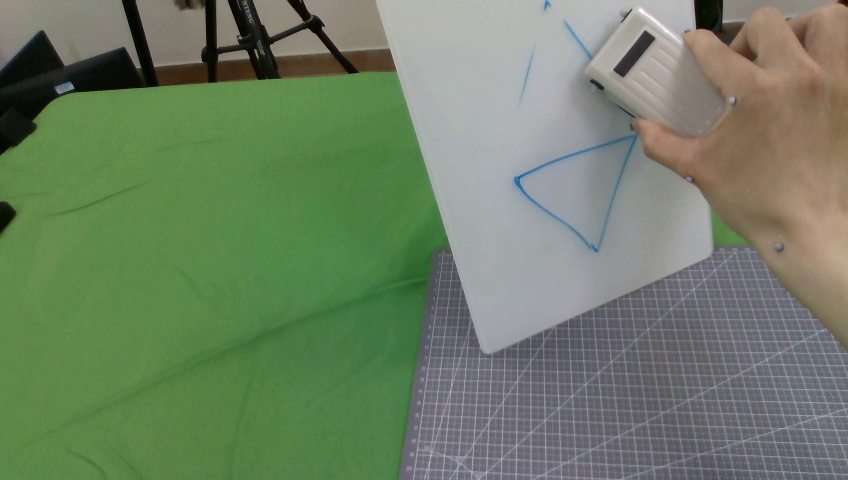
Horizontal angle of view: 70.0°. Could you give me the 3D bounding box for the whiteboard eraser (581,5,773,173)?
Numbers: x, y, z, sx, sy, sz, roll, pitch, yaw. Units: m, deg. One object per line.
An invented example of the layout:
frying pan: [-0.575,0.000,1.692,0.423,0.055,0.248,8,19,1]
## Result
whiteboard eraser: [0.164,-0.098,0.399,0.112,0.056,0.042,38,16,3]

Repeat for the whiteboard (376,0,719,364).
whiteboard: [0.087,-0.098,0.485,0.217,0.308,0.142,-22,26,-8]
